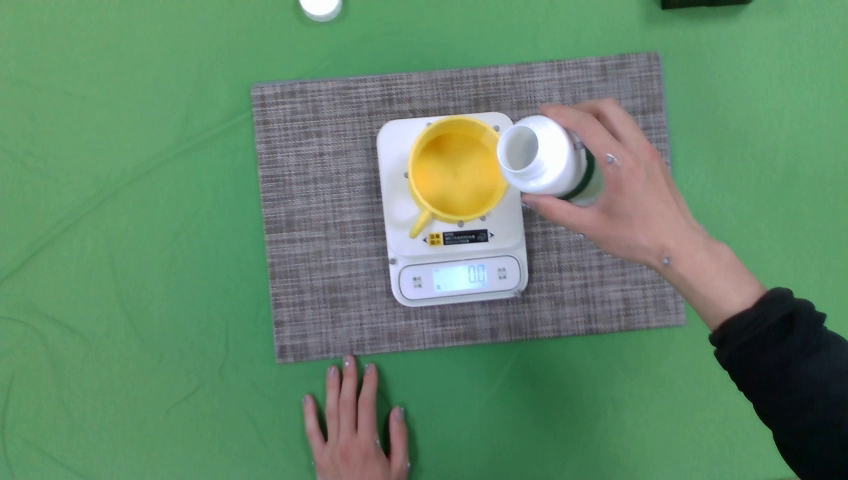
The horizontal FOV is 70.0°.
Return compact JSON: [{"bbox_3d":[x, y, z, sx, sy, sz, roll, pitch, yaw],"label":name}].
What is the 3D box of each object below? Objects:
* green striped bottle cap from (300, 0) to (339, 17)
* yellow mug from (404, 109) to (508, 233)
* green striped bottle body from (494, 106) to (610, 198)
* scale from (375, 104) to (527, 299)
[{"bbox_3d":[-0.114,-0.267,0.657,0.044,0.020,0.044,0,93,-2],"label":"green striped bottle cap"},{"bbox_3d":[0.022,-0.061,0.600,0.100,0.064,0.131,35,90,-2],"label":"yellow mug"},{"bbox_3d":[0.106,-0.074,0.512,0.063,0.120,0.063,-4,84,38],"label":"green striped bottle body"},{"bbox_3d":[0.030,-0.041,0.648,0.149,0.031,0.201,-6,91,-1],"label":"scale"}]
